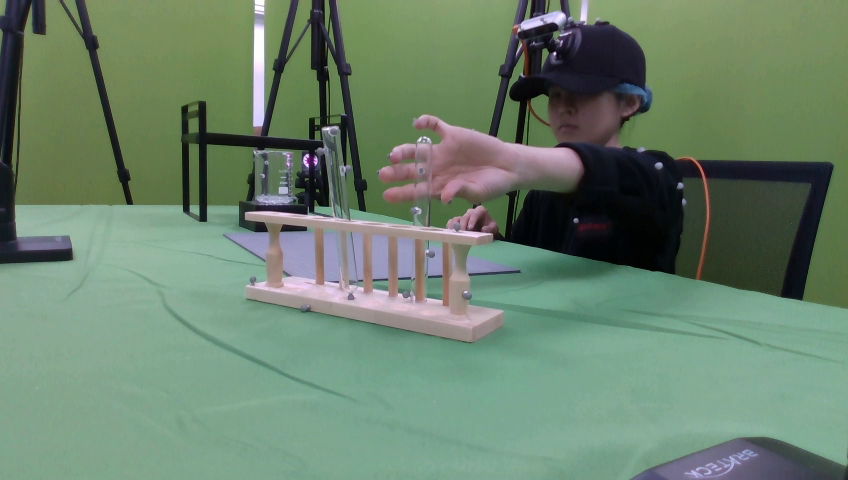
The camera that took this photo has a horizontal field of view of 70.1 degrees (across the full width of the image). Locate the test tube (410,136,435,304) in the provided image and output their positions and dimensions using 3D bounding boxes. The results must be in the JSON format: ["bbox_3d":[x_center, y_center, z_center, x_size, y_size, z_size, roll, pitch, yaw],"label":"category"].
[{"bbox_3d":[-0.001,-0.016,0.537,0.017,0.150,0.017,2,7,0],"label":"test tube"}]

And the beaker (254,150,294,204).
[{"bbox_3d":[-0.289,-0.120,1.151,0.073,0.100,0.084,8,9,33],"label":"beaker"}]

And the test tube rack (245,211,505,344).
[{"bbox_3d":[-0.049,0.024,0.547,0.241,0.085,0.067,7,8,29],"label":"test tube rack"}]

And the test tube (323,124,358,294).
[{"bbox_3d":[-0.073,-0.026,0.533,0.017,0.150,0.017,-5,9,1],"label":"test tube"}]
